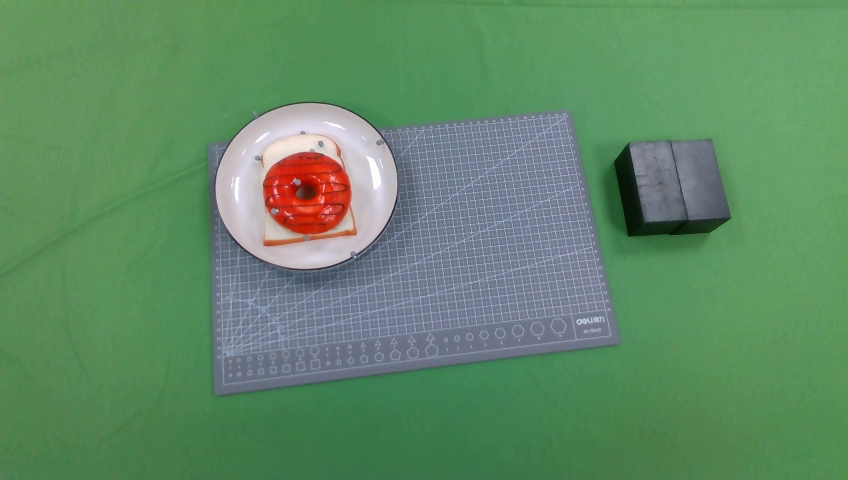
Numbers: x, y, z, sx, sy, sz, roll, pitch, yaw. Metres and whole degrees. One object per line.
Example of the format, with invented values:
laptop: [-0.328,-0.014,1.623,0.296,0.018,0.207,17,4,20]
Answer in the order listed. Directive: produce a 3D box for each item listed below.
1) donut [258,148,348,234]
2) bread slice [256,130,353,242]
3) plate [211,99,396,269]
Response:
donut: [-0.133,-0.054,0.671,0.099,0.048,0.098,2,76,-6]
bread slice: [-0.144,-0.066,0.704,0.105,0.019,0.130,-9,75,-7]
plate: [-0.136,-0.063,0.702,0.209,0.038,0.208,1,73,-3]
